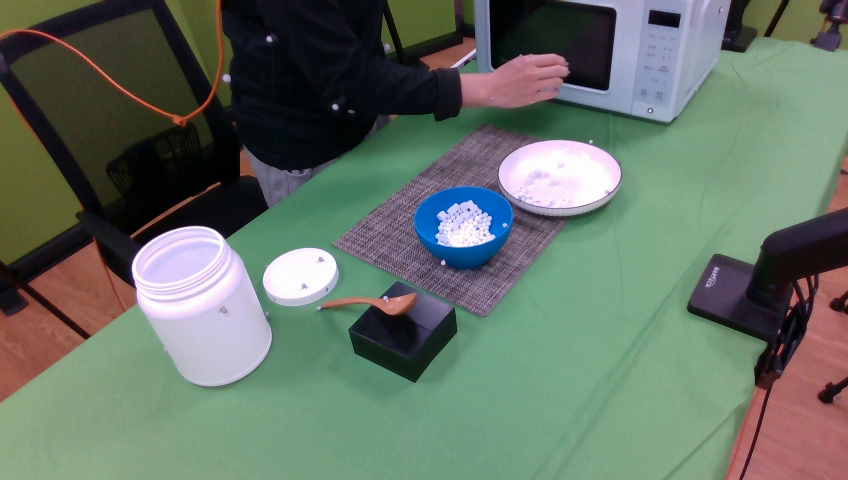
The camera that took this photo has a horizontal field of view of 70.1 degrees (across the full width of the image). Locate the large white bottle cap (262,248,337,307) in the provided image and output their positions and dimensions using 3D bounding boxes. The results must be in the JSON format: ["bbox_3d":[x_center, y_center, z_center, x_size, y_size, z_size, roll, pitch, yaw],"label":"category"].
[{"bbox_3d":[-0.193,0.056,0.934,0.115,0.018,0.114,-4,41,4],"label":"large white bottle cap"}]

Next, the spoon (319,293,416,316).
[{"bbox_3d":[-0.082,0.086,0.826,0.192,0.022,0.041,-3,36,41],"label":"spoon"}]

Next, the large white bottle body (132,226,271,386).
[{"bbox_3d":[-0.286,0.085,0.783,0.130,0.185,0.130,-4,41,4],"label":"large white bottle body"}]

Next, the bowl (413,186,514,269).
[{"bbox_3d":[0.062,-0.009,0.920,0.151,0.077,0.150,-4,40,4],"label":"bowl"}]

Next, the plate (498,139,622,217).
[{"bbox_3d":[0.230,-0.103,1.038,0.209,0.038,0.208,-4,41,4],"label":"plate"}]

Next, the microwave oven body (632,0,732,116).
[{"bbox_3d":[0.377,-0.463,1.267,0.438,0.261,0.327,21,49,30],"label":"microwave oven body"}]

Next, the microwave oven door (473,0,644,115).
[{"bbox_3d":[0.257,-0.396,1.199,0.353,0.245,0.039,21,48,29],"label":"microwave oven door"}]

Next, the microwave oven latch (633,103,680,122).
[{"bbox_3d":[0.443,-0.249,1.157,0.078,0.029,0.030,21,49,30],"label":"microwave oven latch"}]
